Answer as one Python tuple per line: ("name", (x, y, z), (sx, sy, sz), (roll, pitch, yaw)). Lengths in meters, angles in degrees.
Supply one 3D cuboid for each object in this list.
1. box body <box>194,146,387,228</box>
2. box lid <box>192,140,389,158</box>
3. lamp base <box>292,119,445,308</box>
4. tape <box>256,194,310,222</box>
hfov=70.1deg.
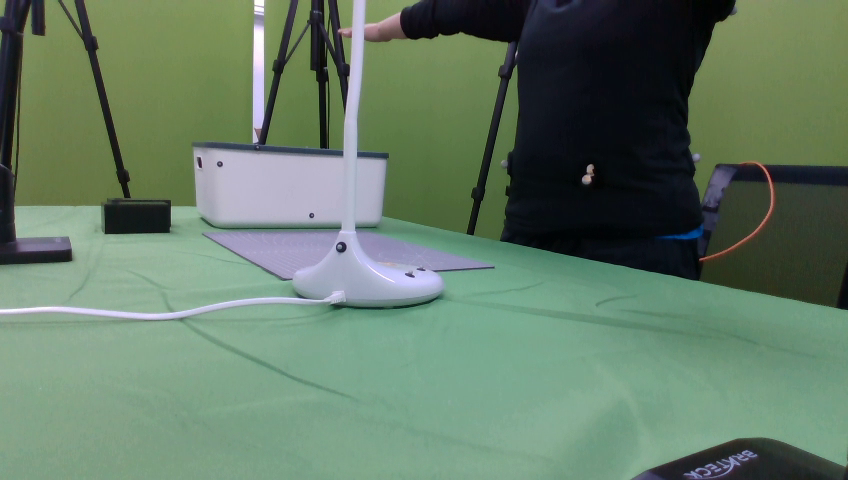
("box body", (-0.288, -0.118, 1.291), (0.366, 0.160, 0.253), (-1, 8, -28))
("box lid", (-0.287, -0.191, 1.281), (0.373, 0.015, 0.262), (0, 8, -28))
("lamp base", (-0.056, -0.030, 0.616), (0.160, 0.180, 0.179), (3, 10, 8))
("tape", (-0.301, -0.069, 1.294), (0.117, 0.052, 0.117), (3, 7, 0))
